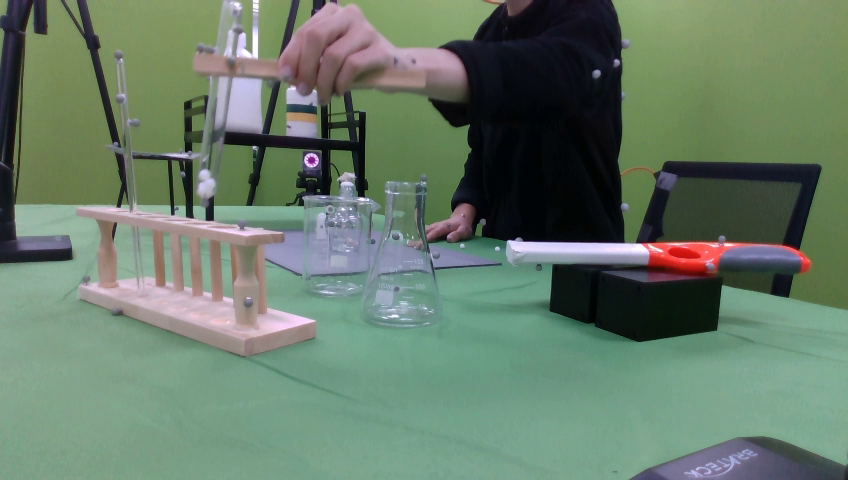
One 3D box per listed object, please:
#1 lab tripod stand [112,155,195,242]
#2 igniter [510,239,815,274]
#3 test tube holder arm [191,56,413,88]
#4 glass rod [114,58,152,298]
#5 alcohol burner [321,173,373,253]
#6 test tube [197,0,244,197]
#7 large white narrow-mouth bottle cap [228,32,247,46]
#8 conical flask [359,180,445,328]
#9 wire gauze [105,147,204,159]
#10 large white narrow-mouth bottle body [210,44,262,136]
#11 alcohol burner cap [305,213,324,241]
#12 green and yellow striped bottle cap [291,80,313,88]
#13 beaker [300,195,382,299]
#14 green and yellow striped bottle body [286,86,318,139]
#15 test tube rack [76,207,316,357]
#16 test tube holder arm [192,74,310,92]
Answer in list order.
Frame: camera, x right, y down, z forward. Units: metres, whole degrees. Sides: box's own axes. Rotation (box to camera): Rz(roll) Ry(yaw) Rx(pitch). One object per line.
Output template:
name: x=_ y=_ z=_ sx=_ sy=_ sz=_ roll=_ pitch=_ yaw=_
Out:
lab tripod stand: x=-0.405 y=-0.064 z=0.931 sx=0.148 sy=0.131 sz=0.148 roll=1 pitch=6 yaw=0
igniter: x=0.220 y=0.015 z=0.565 sx=0.277 sy=0.025 sz=0.057 roll=2 pitch=17 yaw=-1
test tube holder arm: x=-0.090 y=-0.133 z=0.483 sx=0.179 sy=0.015 sz=0.013 roll=-5 pitch=-18 yaw=-25
glass rod: x=-0.236 y=-0.044 z=0.493 sx=0.008 sy=0.199 sz=0.008 roll=0 pitch=16 yaw=0
alcohol burner: x=-0.115 y=-0.041 z=0.905 sx=0.078 sy=0.119 sz=0.078 roll=0 pitch=6 yaw=0
test tube: x=-0.157 y=-0.107 z=0.464 sx=0.017 sy=0.150 sz=0.017 roll=10 pitch=4 yaw=0
large white narrow-mouth bottle cap: x=-0.364 y=-0.390 z=1.179 sx=0.038 sy=0.024 sz=0.037 roll=4 pitch=8 yaw=0
conical flask: x=-0.017 y=0.010 z=0.522 sx=0.075 sy=0.122 sz=0.075 roll=2 pitch=7 yaw=0
wire gauze: x=-0.408 y=-0.131 z=0.929 sx=0.125 sy=0.011 sz=0.121 roll=2 pitch=6 yaw=-11
large white narrow-mouth bottle body: x=-0.369 y=-0.305 z=1.193 sx=0.102 sy=0.194 sz=0.102 roll=4 pitch=8 yaw=0
alcohol burner cap: x=-0.185 y=-0.023 z=1.027 sx=0.034 sy=0.048 sz=0.034 roll=3 pitch=6 yaw=0
green and yellow striped bottle cap: x=-0.250 y=-0.321 z=1.237 sx=0.045 sy=0.020 sz=0.045 roll=3 pitch=5 yaw=0
beaker: x=-0.087 y=0.006 z=0.626 sx=0.084 sy=0.100 sz=0.073 roll=1 pitch=8 yaw=-17
green and yellow striped bottle body: x=-0.251 y=-0.270 z=1.245 sx=0.063 sy=0.119 sz=0.063 roll=2 pitch=7 yaw=0
test tube rack: x=-0.196 y=0.023 z=0.499 sx=0.241 sy=0.085 sz=0.067 roll=8 pitch=9 yaw=36
test tube holder arm: x=-0.134 y=-0.126 z=0.472 sx=0.088 sy=0.015 sz=0.010 roll=-8 pitch=-17 yaw=-15
